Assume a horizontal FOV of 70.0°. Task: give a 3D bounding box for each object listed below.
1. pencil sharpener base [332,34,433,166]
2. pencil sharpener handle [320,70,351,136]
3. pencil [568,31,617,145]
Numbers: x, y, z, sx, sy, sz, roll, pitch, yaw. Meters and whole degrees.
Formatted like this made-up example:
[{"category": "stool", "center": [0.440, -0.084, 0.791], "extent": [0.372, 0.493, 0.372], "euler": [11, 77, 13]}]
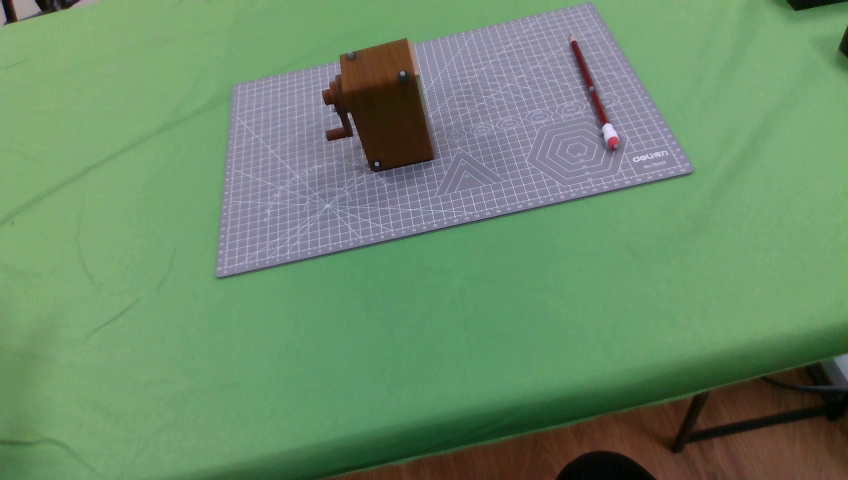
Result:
[{"category": "pencil sharpener base", "center": [-0.039, -0.132, 0.588], "extent": [0.077, 0.108, 0.060], "euler": [-13, 52, 2]}, {"category": "pencil sharpener handle", "center": [-0.090, -0.128, 0.580], "extent": [0.030, 0.068, 0.035], "euler": [-13, 52, 2]}, {"category": "pencil", "center": [0.172, -0.166, 0.633], "extent": [0.012, 0.012, 0.192], "euler": [-9, 50, 5]}]
